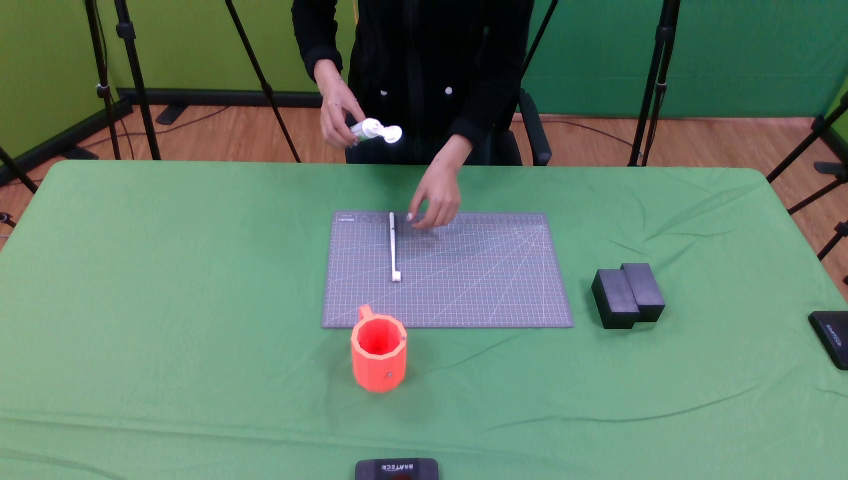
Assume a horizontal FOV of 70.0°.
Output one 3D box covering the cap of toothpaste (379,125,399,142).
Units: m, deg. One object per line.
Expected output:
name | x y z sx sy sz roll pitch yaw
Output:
cap of toothpaste | -0.062 -0.191 1.079 0.037 0.011 0.037 -10 63 19

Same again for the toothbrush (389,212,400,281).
toothbrush | -0.059 0.010 1.186 0.017 0.014 0.180 1 46 -8

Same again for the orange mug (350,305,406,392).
orange mug | -0.080 0.168 0.978 0.083 0.101 0.125 -16 54 -18

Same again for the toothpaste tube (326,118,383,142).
toothpaste tube | -0.126 -0.201 1.140 0.055 0.034 0.164 6 -4 -33
